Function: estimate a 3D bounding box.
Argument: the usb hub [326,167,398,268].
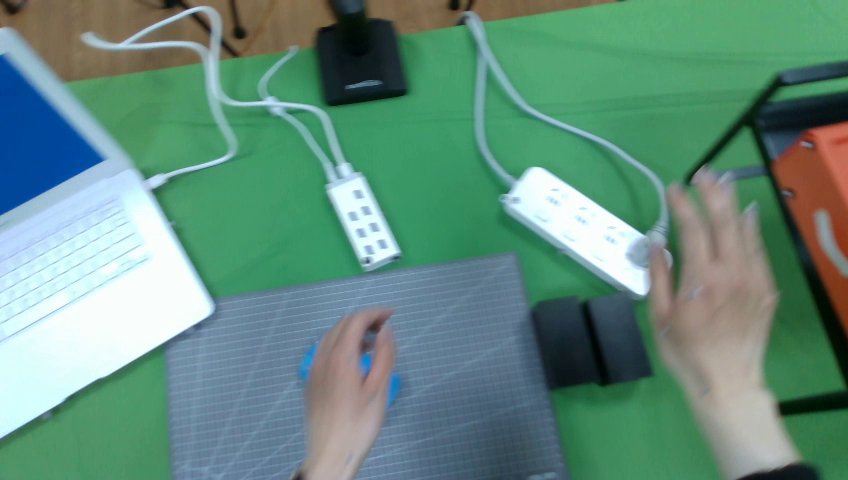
[{"bbox_3d":[-0.080,-0.030,0.779,0.049,0.025,0.124,-24,74,-6],"label":"usb hub"}]

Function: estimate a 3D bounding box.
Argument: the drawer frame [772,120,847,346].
[{"bbox_3d":[0.472,-0.022,0.560,0.214,0.083,0.200,-13,73,-5],"label":"drawer frame"}]

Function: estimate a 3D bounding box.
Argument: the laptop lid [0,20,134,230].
[{"bbox_3d":[-0.547,-0.077,0.678,0.357,0.244,0.013,-32,60,-8],"label":"laptop lid"}]

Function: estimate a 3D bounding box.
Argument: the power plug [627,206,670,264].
[{"bbox_3d":[0.282,0.000,0.746,0.072,0.053,0.035,-39,75,-14],"label":"power plug"}]

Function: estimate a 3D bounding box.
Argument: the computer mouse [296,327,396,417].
[{"bbox_3d":[-0.093,0.154,0.713,0.116,0.041,0.062,31,76,13],"label":"computer mouse"}]

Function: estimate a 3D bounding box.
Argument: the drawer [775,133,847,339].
[{"bbox_3d":[0.470,-0.020,0.559,0.212,0.073,0.193,-12,72,-4],"label":"drawer"}]

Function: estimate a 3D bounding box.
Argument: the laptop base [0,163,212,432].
[{"bbox_3d":[-0.467,0.078,0.749,0.354,0.023,0.234,-31,77,-9],"label":"laptop base"}]

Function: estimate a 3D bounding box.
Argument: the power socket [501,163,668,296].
[{"bbox_3d":[0.205,-0.015,0.771,0.226,0.033,0.072,37,76,11],"label":"power socket"}]
